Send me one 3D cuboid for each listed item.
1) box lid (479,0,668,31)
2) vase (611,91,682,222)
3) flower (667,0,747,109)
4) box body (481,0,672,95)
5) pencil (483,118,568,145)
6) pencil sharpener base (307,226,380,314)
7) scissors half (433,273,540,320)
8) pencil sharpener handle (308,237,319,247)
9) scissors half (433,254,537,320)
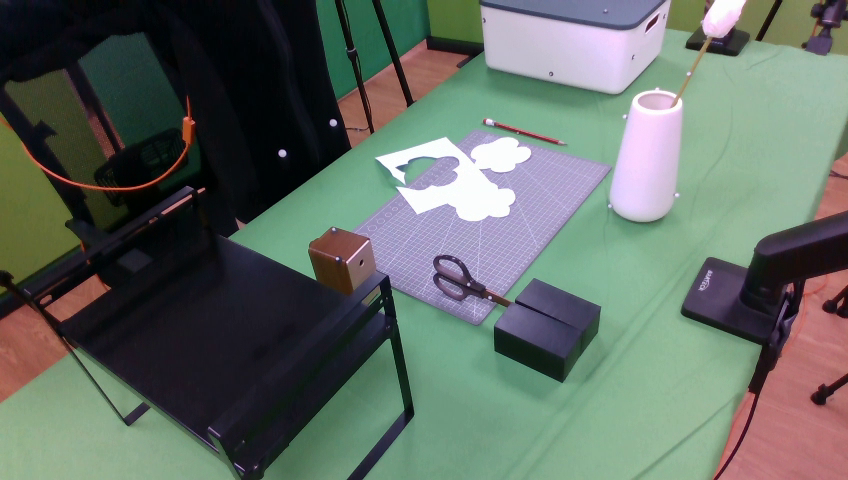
[{"bbox_3d":[0.335,-0.536,1.331,0.368,0.015,0.264,23,49,30],"label":"box lid"},{"bbox_3d":[0.348,-0.125,0.935,0.098,0.201,0.097,-3,40,3],"label":"vase"},{"bbox_3d":[0.354,-0.187,0.879,0.038,0.362,0.044,30,48,14],"label":"flower"},{"bbox_3d":[0.341,-0.480,1.381,0.361,0.161,0.255,22,48,30],"label":"box body"},{"bbox_3d":[0.201,-0.217,1.212,0.192,0.012,0.012,24,49,29],"label":"pencil"},{"bbox_3d":[-0.116,0.043,0.875,0.076,0.107,0.061,18,47,28],"label":"pencil sharpener base"},{"bbox_3d":[0.084,0.081,0.839,0.174,0.040,0.013,17,38,36],"label":"scissors half"},{"bbox_3d":[-0.159,0.017,0.892,0.030,0.068,0.036,18,60,28],"label":"pencil sharpener handle"},{"bbox_3d":[0.083,0.065,0.827,0.174,0.040,0.013,31,51,23],"label":"scissors half"}]
